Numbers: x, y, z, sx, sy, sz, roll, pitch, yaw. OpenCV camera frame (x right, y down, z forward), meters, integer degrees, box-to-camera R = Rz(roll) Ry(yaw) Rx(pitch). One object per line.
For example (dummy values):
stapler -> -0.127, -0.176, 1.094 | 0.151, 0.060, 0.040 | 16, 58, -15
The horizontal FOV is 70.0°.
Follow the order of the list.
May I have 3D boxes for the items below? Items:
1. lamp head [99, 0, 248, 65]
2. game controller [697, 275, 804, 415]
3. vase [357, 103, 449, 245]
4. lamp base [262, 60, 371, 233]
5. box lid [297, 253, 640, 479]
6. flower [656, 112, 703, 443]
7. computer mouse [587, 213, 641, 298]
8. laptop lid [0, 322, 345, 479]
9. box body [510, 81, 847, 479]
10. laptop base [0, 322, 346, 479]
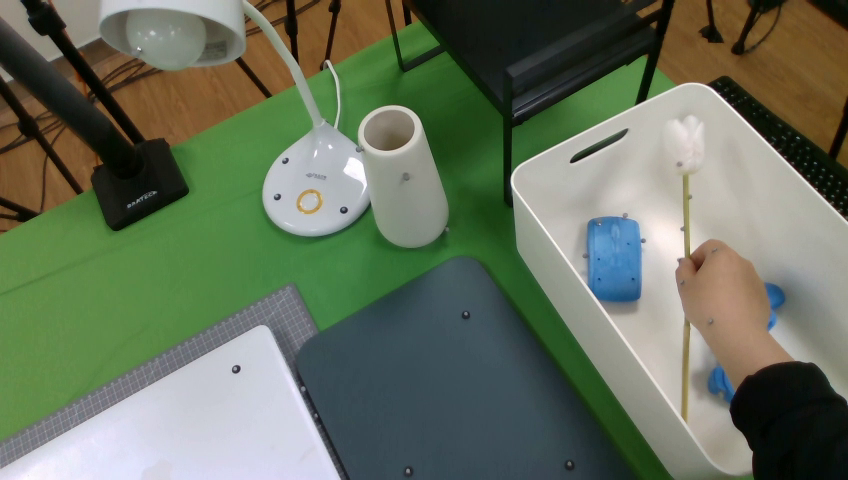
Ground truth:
lamp head -> -0.201, -0.218, 0.498 | 0.112, 0.113, 0.122 | -3, 79, 6
game controller -> 0.359, 0.108, 0.666 | 0.097, 0.052, 0.154 | 1, 61, 10
vase -> -0.026, -0.074, 0.730 | 0.098, 0.202, 0.097 | -4, 61, 7
lamp base -> -0.156, -0.128, 0.786 | 0.160, 0.182, 0.177 | 1, 59, 7
box lid -> 0.038, 0.202, 0.682 | 0.263, 0.015, 0.368 | -29, 63, -10
flower -> 0.276, 0.048, 0.629 | 0.044, 0.038, 0.361 | -2, 86, -13
computer mouse -> 0.230, 0.016, 0.735 | 0.062, 0.041, 0.116 | 3, 59, 12
laptop lid -> -0.287, 0.268, 0.670 | 0.357, 0.013, 0.239 | -28, 65, -8
box body -> 0.285, 0.041, 0.651 | 0.254, 0.162, 0.360 | -27, 62, -7
laptop base -> -0.287, 0.271, 0.681 | 0.354, 0.023, 0.233 | -29, 66, -9
